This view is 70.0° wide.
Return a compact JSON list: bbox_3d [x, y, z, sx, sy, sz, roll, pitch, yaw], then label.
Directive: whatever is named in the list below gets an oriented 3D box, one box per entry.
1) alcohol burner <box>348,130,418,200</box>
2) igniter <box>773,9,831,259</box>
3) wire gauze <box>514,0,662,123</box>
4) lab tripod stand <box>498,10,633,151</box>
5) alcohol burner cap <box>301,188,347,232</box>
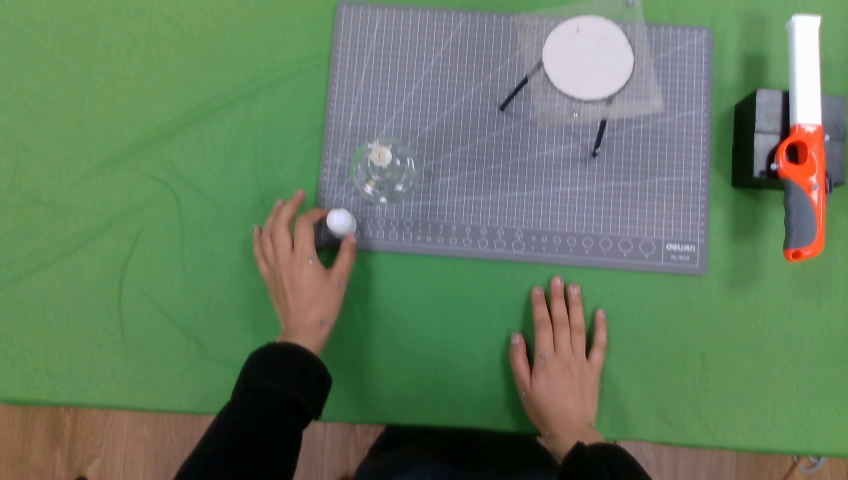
[{"bbox_3d":[-0.045,-0.084,0.646,0.078,0.119,0.077,0,85,-1],"label":"alcohol burner"},{"bbox_3d":[0.405,-0.115,0.649,0.057,0.025,0.275,5,81,3],"label":"igniter"},{"bbox_3d":[0.157,-0.177,0.579,0.125,0.011,0.121,-9,84,-1],"label":"wire gauze"},{"bbox_3d":[0.158,-0.176,0.646,0.148,0.132,0.148,0,82,1],"label":"lab tripod stand"},{"bbox_3d":[-0.105,-0.030,0.659,0.048,0.034,0.034,39,85,3],"label":"alcohol burner cap"}]
